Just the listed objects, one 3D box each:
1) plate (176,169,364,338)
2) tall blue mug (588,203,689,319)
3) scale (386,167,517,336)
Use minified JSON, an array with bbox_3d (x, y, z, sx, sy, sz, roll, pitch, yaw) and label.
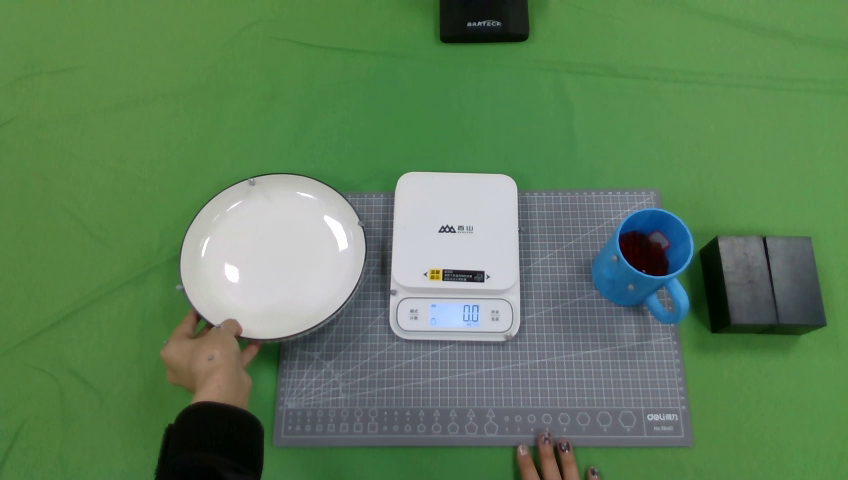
[{"bbox_3d":[-0.173,0.015,0.697,0.209,0.038,0.207,1,66,-2],"label":"plate"},{"bbox_3d":[0.240,0.025,0.654,0.107,0.108,0.077,35,75,12],"label":"tall blue mug"},{"bbox_3d":[0.033,0.010,0.705,0.148,0.032,0.199,1,72,2],"label":"scale"}]
